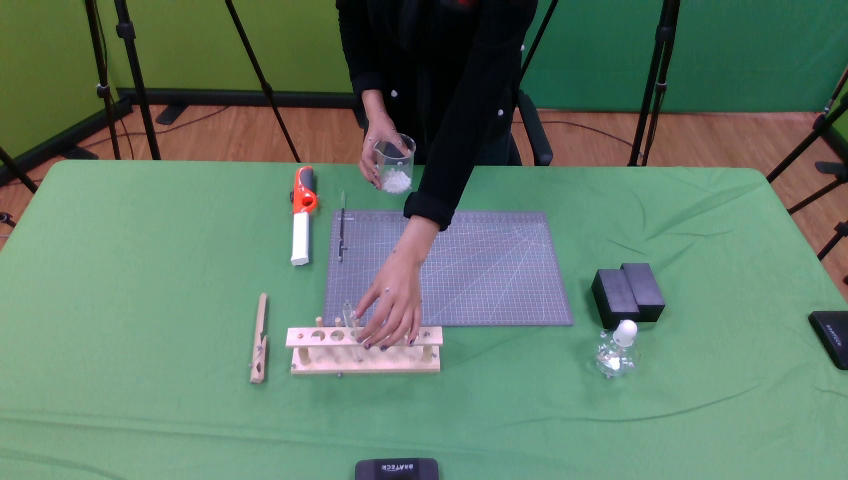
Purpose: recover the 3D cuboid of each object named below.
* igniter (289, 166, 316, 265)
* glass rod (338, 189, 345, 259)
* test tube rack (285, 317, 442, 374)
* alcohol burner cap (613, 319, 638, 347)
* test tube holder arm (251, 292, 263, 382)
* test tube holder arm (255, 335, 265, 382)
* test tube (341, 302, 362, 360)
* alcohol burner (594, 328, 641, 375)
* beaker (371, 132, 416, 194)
[{"bbox_3d":[-0.247,-0.058,1.233,0.057,0.025,0.274,-10,47,1],"label":"igniter"},{"bbox_3d":[-0.166,-0.036,1.227,0.008,0.008,0.198,-1,46,-4],"label":"glass rod"},{"bbox_3d":[-0.095,0.166,0.988,0.242,0.085,0.066,0,46,-4],"label":"test tube rack"},{"bbox_3d":[0.323,0.146,0.966,0.034,0.048,0.033,-1,52,2],"label":"alcohol burner cap"},{"bbox_3d":[-0.282,0.159,1.025,0.013,0.015,0.177,23,36,-33],"label":"test tube holder arm"},{"bbox_3d":[-0.270,0.193,0.997,0.010,0.015,0.087,24,36,-32],"label":"test tube holder arm"},{"bbox_3d":[-0.111,0.145,0.938,0.017,0.151,0.017,-1,49,2],"label":"test tube"},{"bbox_3d":[0.322,0.170,0.994,0.078,0.119,0.077,3,48,-3],"label":"alcohol burner"},{"bbox_3d":[-0.059,-0.145,1.168,0.084,0.101,0.073,-2,50,-7],"label":"beaker"}]
